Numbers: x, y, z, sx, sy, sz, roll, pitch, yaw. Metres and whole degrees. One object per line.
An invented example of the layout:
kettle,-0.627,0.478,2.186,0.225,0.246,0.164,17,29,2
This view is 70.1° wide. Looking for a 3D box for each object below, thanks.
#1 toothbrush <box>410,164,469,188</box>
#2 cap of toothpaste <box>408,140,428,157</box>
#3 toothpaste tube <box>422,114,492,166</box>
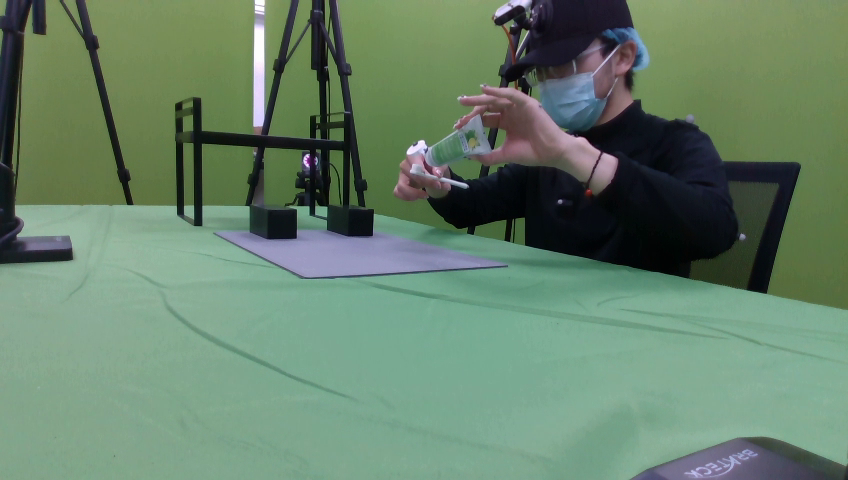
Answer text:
toothbrush,0.030,-0.106,1.016,0.014,0.016,0.183,10,1,32
cap of toothpaste,-0.009,-0.145,0.960,0.037,0.011,0.037,-28,32,20
toothpaste tube,0.046,-0.139,0.888,0.034,0.055,0.164,-29,9,-27
